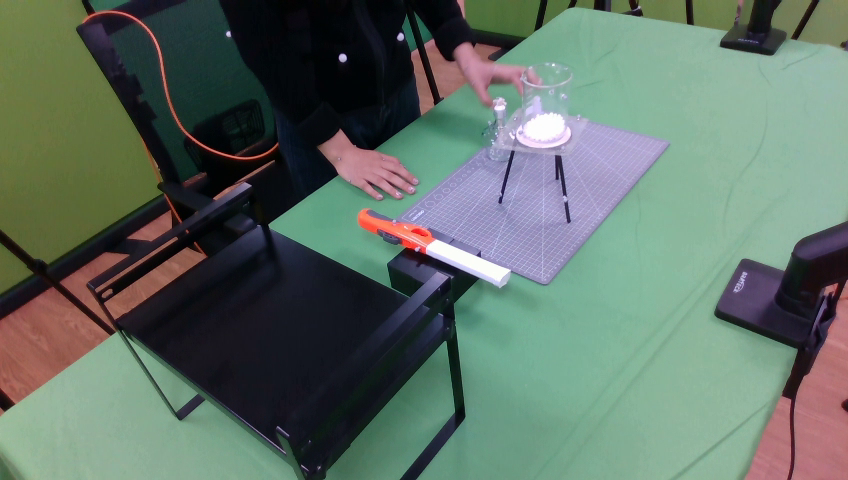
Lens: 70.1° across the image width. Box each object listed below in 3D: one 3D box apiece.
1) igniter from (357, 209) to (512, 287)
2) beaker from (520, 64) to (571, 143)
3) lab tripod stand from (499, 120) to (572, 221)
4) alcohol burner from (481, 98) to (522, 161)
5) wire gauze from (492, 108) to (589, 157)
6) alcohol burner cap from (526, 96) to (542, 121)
[{"bbox_3d":[0.004,0.006,0.891,0.274,0.025,0.057,23,37,30],"label":"igniter"},{"bbox_3d":[0.187,-0.208,0.924,0.073,0.101,0.084,23,49,30],"label":"beaker"},{"bbox_3d":[0.198,-0.117,0.992,0.148,0.132,0.147,-3,40,3],"label":"lab tripod stand"},{"bbox_3d":[0.143,-0.208,1.124,0.078,0.119,0.077,-6,40,6],"label":"alcohol burner"},{"bbox_3d":[0.185,-0.169,0.954,0.121,0.011,0.125,13,46,22],"label":"wire gauze"},{"bbox_3d":[0.225,-0.272,1.243,0.034,0.048,0.033,-5,41,5],"label":"alcohol burner cap"}]
